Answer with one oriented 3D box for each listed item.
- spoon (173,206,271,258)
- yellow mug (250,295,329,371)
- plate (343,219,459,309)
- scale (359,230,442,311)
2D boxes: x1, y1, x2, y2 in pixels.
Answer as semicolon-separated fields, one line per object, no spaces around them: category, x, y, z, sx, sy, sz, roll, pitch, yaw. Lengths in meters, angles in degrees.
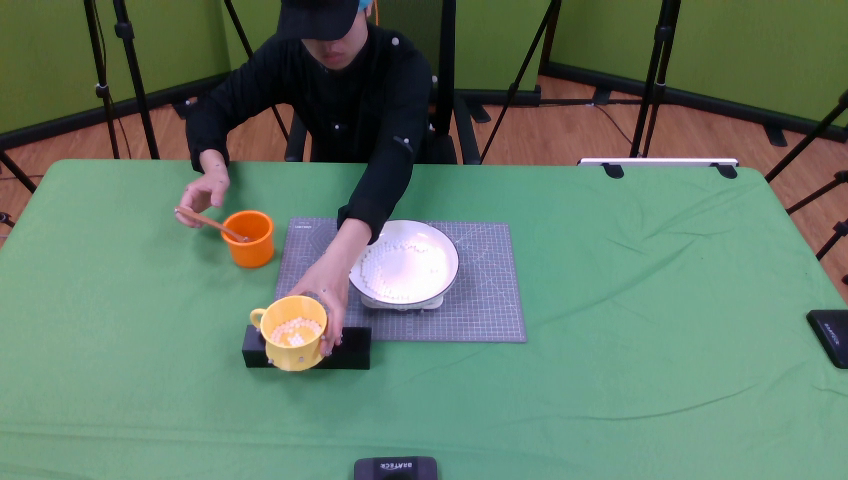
spoon;-0.361;-0.016;1.097;0.021;0.195;0.041;-32;43;27
yellow mug;-0.216;0.140;0.948;0.130;0.064;0.099;17;46;12
plate;-0.041;0.045;1.094;0.209;0.038;0.208;2;46;-1
scale;-0.043;0.047;1.138;0.149;0.032;0.199;2;46;-3
